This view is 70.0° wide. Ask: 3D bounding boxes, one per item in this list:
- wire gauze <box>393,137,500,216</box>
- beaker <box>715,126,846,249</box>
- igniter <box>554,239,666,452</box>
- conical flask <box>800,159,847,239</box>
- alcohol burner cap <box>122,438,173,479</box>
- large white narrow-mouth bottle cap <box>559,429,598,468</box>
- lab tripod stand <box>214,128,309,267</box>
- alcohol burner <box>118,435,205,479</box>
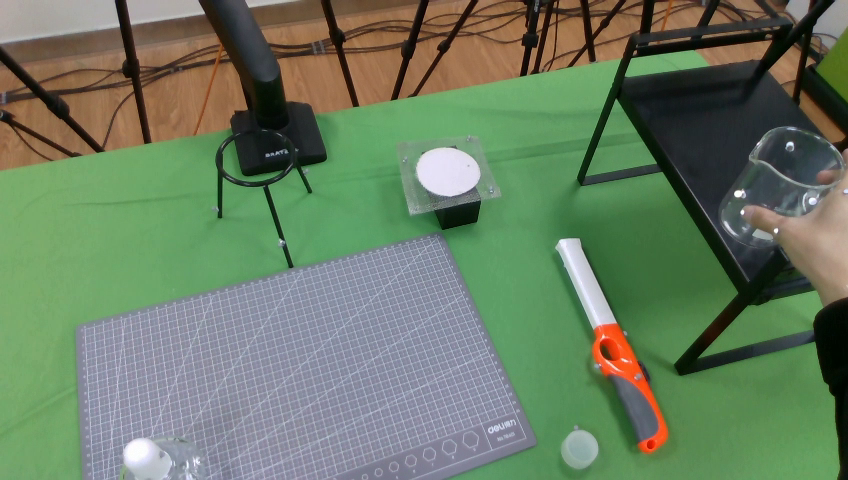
[{"bbox_3d":[0.027,-0.090,0.801,0.122,0.011,0.123,-8,55,-9],"label":"wire gauze"},{"bbox_3d":[0.327,-0.045,0.573,0.084,0.101,0.073,3,54,-1],"label":"beaker"},{"bbox_3d":[0.216,0.114,0.719,0.057,0.025,0.273,-3,54,-18],"label":"igniter"},{"bbox_3d":[0.425,-0.063,0.578,0.075,0.123,0.074,1,54,-1],"label":"conical flask"},{"bbox_3d":[-0.244,0.193,0.530,0.034,0.048,0.033,0,50,1],"label":"alcohol burner cap"},{"bbox_3d":[0.163,0.221,0.643,0.038,0.024,0.037,2,54,-2],"label":"large white narrow-mouth bottle cap"},{"bbox_3d":[-0.195,-0.057,0.746,0.148,0.132,0.147,3,55,-4],"label":"lab tripod stand"},{"bbox_3d":[-0.246,0.213,0.560,0.078,0.120,0.077,3,53,-3],"label":"alcohol burner"}]
